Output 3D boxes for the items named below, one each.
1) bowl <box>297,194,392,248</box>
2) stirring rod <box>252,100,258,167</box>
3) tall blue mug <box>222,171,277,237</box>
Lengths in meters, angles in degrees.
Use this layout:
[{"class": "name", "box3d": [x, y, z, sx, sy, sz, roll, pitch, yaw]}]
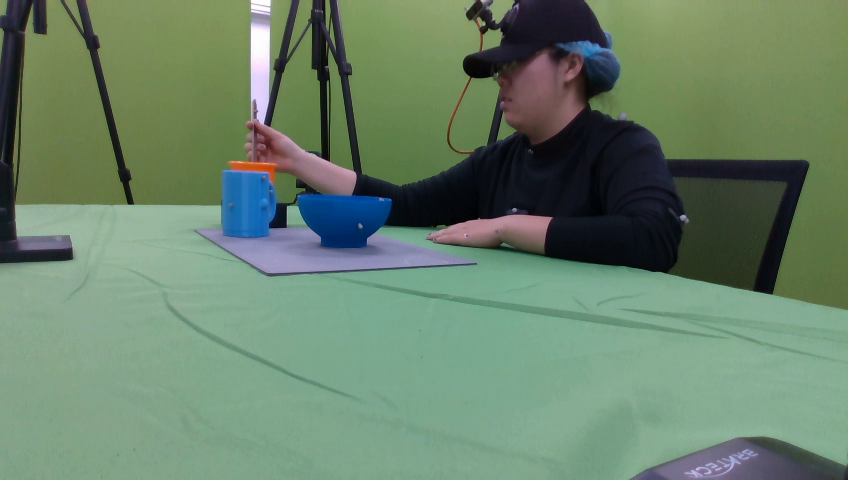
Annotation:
[{"class": "bowl", "box3d": [-0.127, -0.030, 0.964, 0.151, 0.077, 0.151, 2, 7, 0]}, {"class": "stirring rod", "box3d": [-0.338, -0.216, 1.210, 0.006, 0.175, 0.014, -13, -33, 5]}, {"class": "tall blue mug", "box3d": [-0.303, -0.064, 1.043, 0.078, 0.108, 0.107, 1, 7, -4]}]
